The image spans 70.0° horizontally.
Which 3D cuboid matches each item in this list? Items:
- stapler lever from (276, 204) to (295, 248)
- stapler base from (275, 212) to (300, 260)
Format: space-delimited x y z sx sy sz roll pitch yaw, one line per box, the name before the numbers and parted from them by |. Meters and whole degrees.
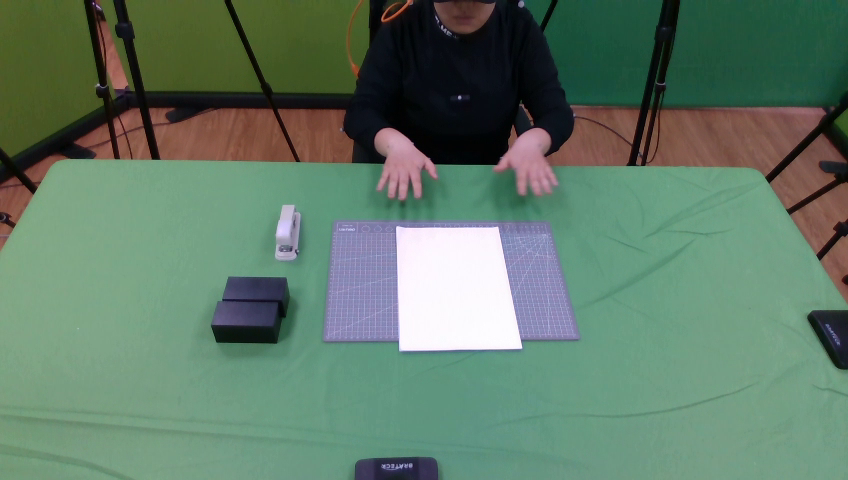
stapler lever | -0.268 -0.034 1.174 0.027 0.040 0.117 0 45 -7
stapler base | -0.269 -0.016 1.190 0.041 0.024 0.129 0 44 -7
